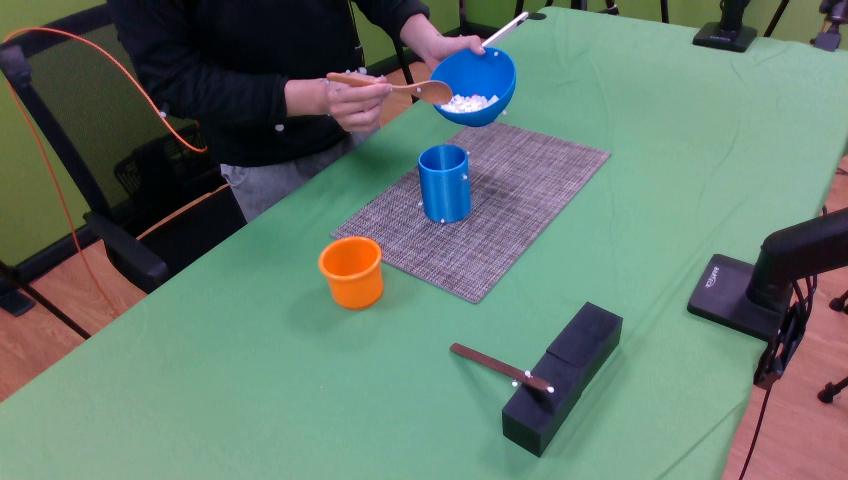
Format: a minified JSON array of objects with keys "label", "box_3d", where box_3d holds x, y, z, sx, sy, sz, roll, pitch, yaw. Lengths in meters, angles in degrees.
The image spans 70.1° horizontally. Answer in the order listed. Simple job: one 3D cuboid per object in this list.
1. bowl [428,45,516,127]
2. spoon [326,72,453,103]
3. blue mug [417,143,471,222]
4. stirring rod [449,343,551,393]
[{"label":"bowl","box_3d":[0.087,-0.245,1.019,0.151,0.077,0.150,-9,57,14]},{"label":"spoon","box_3d":[-0.048,-0.227,0.889,0.195,0.041,0.021,0,53,-26]},{"label":"blue mug","box_3d":[0.031,-0.104,1.014,0.082,0.106,0.115,-14,41,-7]},{"label":"stirring rod","box_3d":[0.088,0.154,0.741,0.014,0.006,0.174,-39,28,-25]}]
